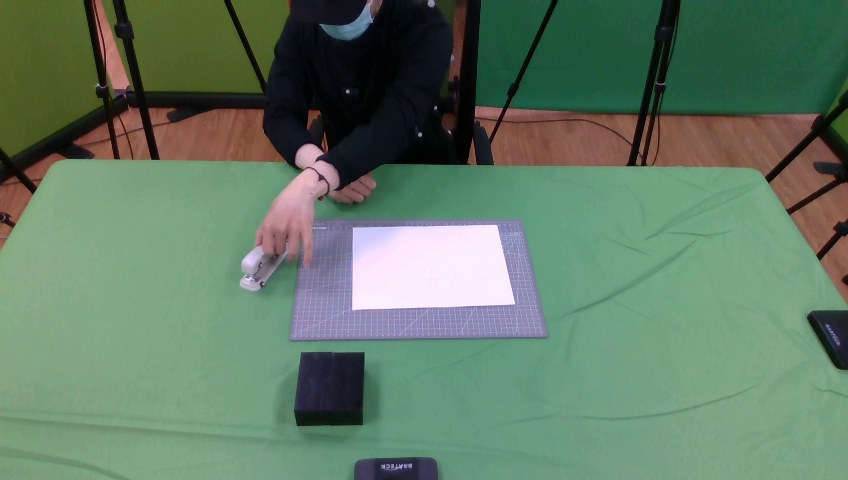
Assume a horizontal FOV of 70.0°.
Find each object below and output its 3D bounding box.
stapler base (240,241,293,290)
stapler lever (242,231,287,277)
[{"bbox_3d":[-0.296,0.039,1.135,0.041,0.024,0.130,20,47,11],"label":"stapler base"},{"bbox_3d":[-0.294,0.020,1.118,0.027,0.040,0.117,20,46,11],"label":"stapler lever"}]
